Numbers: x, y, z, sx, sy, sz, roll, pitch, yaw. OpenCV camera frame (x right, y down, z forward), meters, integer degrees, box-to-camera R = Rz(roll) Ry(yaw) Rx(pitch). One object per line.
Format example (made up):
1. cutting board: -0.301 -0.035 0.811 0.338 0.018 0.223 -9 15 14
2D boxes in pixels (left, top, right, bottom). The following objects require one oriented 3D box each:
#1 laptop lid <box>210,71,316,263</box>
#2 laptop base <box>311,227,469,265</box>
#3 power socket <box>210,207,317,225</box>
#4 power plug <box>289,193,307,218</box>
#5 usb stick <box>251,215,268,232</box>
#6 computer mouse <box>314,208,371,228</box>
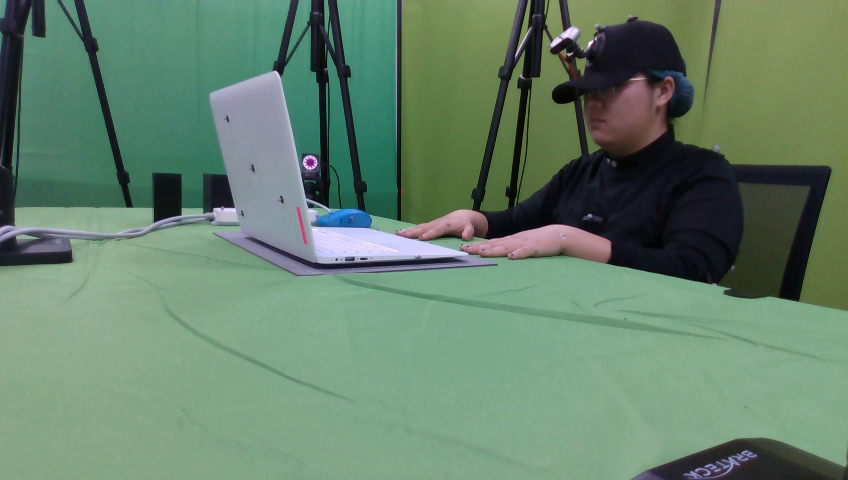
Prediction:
1. laptop lid: -0.240 -0.104 0.861 0.013 0.241 0.355 -16 17 -29
2. laptop base: -0.122 0.007 0.952 0.237 0.023 0.352 2 6 -32
3. power socket: -0.335 -0.051 1.281 0.228 0.032 0.072 -1 8 -28
4. power plug: -0.281 -0.076 1.340 0.035 0.052 0.072 3 6 -17
5. usb stick: -0.290 -0.028 1.070 0.021 0.027 0.059 -2 12 -29
6. computer mouse: -0.173 -0.046 1.284 0.118 0.041 0.062 -7 13 -29
